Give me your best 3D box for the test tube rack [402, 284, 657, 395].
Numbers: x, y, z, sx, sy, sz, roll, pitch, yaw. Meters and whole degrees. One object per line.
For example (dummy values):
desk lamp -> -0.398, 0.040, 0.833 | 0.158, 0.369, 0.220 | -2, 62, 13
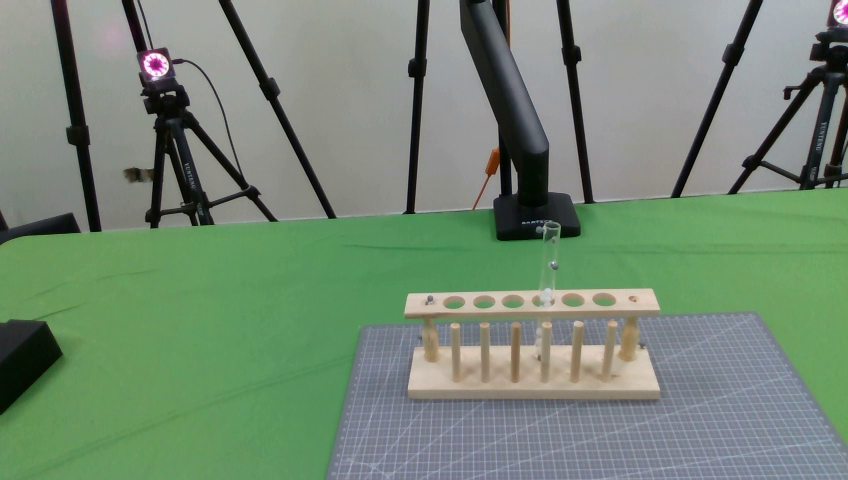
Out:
test tube rack -> 0.102, 0.100, 0.602 | 0.242, 0.086, 0.066 | -2, 31, 7

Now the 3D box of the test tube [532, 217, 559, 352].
test tube -> 0.117, 0.047, 0.590 | 0.017, 0.151, 0.017 | -1, 28, 1
